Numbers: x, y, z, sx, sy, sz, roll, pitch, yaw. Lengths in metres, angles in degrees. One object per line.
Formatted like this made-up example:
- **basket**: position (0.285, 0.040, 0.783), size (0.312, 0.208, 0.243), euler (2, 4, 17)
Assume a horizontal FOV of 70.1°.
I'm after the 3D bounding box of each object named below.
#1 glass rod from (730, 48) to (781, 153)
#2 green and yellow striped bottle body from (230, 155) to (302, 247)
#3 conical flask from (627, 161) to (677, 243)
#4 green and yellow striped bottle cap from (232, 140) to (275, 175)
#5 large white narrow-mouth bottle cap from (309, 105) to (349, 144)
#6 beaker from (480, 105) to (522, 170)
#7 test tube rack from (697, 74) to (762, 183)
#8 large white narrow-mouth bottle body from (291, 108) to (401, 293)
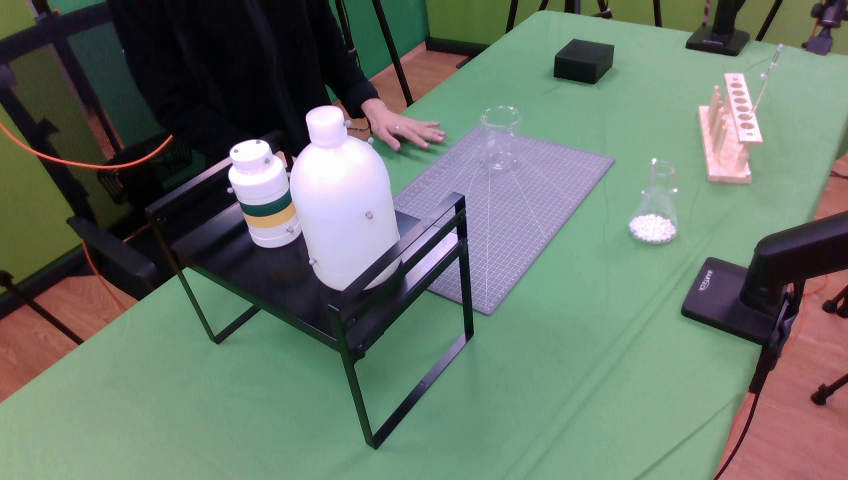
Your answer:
- **glass rod**: position (0.554, -0.228, 1.015), size (0.008, 0.200, 0.008), euler (1, 44, -1)
- **green and yellow striped bottle body**: position (-0.188, -0.055, 0.714), size (0.063, 0.120, 0.063), euler (-4, 41, 4)
- **conical flask**: position (0.355, -0.061, 0.921), size (0.075, 0.122, 0.075), euler (-4, 41, 4)
- **green and yellow striped bottle cap**: position (-0.192, -0.094, 0.680), size (0.045, 0.020, 0.045), euler (-5, 39, 5)
- **large white narrow-mouth bottle cap**: position (-0.091, -0.110, 0.576), size (0.038, 0.024, 0.037), euler (-4, 39, 3)
- **beaker**: position (0.145, -0.187, 1.111), size (0.084, 0.101, 0.073), euler (-35, 48, -29)
- **test tube rack**: position (0.547, -0.208, 1.095), size (0.066, 0.085, 0.242), euler (5, 42, 15)
- **large white narrow-mouth bottle body**: position (-0.084, -0.043, 0.630), size (0.102, 0.195, 0.101), euler (-4, 39, 4)
